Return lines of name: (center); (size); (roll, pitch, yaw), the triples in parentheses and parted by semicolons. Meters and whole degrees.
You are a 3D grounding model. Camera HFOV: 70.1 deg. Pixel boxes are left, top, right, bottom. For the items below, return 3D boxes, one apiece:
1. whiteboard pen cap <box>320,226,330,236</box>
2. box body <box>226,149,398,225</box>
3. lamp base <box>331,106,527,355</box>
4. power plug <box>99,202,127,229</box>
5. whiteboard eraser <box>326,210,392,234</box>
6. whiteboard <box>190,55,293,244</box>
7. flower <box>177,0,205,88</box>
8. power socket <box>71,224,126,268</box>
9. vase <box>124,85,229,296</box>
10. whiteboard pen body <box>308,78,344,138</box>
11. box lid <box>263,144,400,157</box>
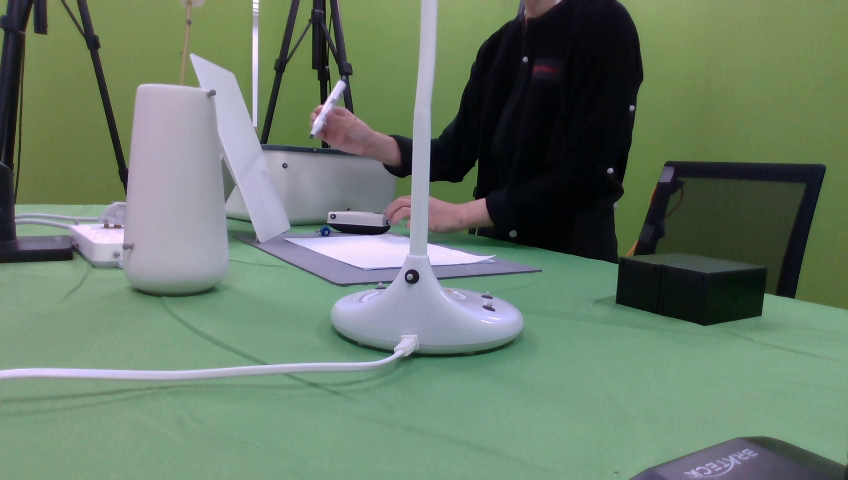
whiteboard pen cap: (-0.176, -0.016, 1.075); (0.018, 0.018, 0.033); (1, 5, -13)
box body: (-0.265, -0.129, 1.380); (0.253, 0.160, 0.366); (8, 9, 39)
lamp base: (0.006, -0.012, 0.478); (0.161, 0.180, 0.179); (2, 10, 2)
power plug: (-0.415, -0.026, 0.848); (0.073, 0.052, 0.035); (6, 5, -28)
whiteboard eraser: (-0.121, -0.033, 1.131); (0.112, 0.042, 0.056); (5, 8, 13)
whiteboard: (-0.362, -0.129, 1.029); (0.144, 0.305, 0.217); (-18, 7, 3)
flower: (-0.243, -0.131, 0.609); (0.044, 0.361, 0.038); (-5, -12, 12)
power socket: (-0.409, 0.004, 0.793); (0.072, 0.032, 0.225); (-2, 8, -37)
vase: (-0.244, -0.047, 0.598); (0.098, 0.200, 0.098); (3, 8, 0)
whiteboard pen body: (-0.175, -0.234, 1.070); (0.017, 0.141, 0.017); (18, -27, 10)
box lid: (-0.263, -0.203, 1.369); (0.262, 0.015, 0.373); (9, 10, 39)
